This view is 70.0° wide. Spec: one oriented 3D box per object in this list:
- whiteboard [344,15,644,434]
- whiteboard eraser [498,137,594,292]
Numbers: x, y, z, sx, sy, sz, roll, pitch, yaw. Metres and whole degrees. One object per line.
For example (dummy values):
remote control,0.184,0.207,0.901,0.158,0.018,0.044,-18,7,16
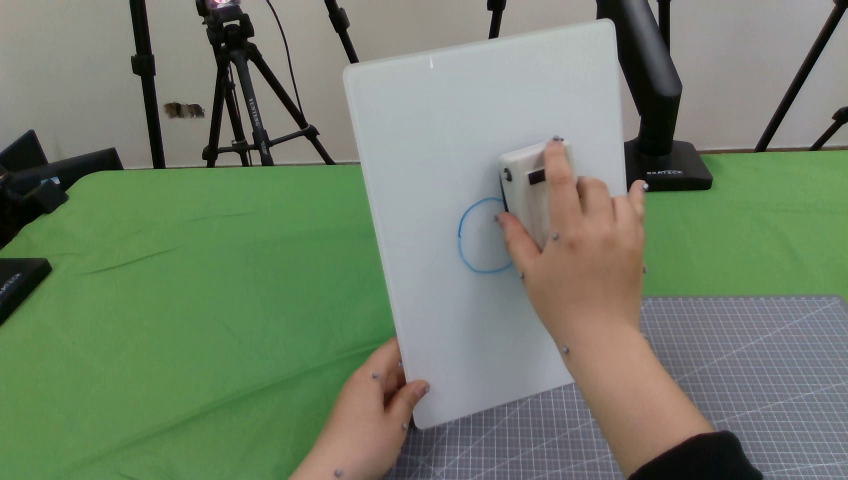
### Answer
whiteboard,0.056,-0.021,0.551,0.217,0.307,0.143,-14,17,-11
whiteboard eraser,0.094,-0.019,0.471,0.056,0.113,0.041,-16,16,-9
